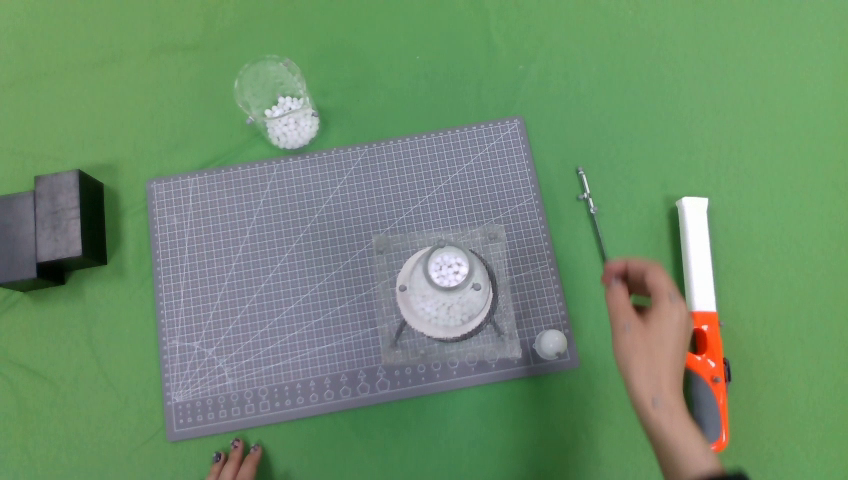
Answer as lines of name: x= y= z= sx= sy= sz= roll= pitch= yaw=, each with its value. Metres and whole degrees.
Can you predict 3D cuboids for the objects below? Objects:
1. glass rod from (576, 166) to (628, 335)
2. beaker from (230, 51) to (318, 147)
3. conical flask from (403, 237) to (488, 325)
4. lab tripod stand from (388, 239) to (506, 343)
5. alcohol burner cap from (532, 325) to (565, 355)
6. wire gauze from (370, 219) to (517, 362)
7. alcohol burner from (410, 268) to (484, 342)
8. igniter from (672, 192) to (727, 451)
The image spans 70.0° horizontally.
glass rod: x=0.198 y=0.009 z=0.681 sx=0.008 sy=0.008 sz=0.198 roll=-12 pitch=77 yaw=-1
beaker: x=-0.160 y=-0.151 z=0.678 sx=0.084 sy=0.100 sz=0.074 roll=25 pitch=80 yaw=6
conical flask: x=0.018 y=0.028 z=0.486 sx=0.075 sy=0.122 sz=0.075 roll=0 pitch=79 yaw=1
lab tripod stand: x=0.021 y=0.061 z=0.607 sx=0.148 sy=0.132 sz=0.147 roll=0 pitch=79 yaw=2
alcohol burner cap: x=0.134 y=0.105 z=0.641 sx=0.034 sy=0.048 sz=0.033 roll=0 pitch=78 yaw=2
wire gauze: x=0.017 y=0.045 z=0.543 sx=0.125 sy=0.011 sz=0.121 roll=-4 pitch=80 yaw=-1
alcohol burner: x=0.023 y=0.064 z=0.617 sx=0.078 sy=0.119 sz=0.077 roll=-1 pitch=78 yaw=4
igniter: x=0.294 y=0.083 z=0.653 sx=0.057 sy=0.025 sz=0.275 roll=3 pitch=78 yaw=-9
